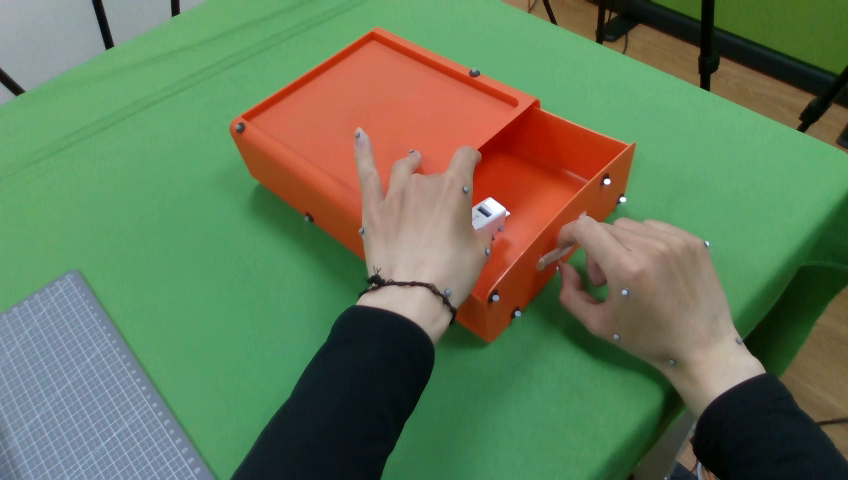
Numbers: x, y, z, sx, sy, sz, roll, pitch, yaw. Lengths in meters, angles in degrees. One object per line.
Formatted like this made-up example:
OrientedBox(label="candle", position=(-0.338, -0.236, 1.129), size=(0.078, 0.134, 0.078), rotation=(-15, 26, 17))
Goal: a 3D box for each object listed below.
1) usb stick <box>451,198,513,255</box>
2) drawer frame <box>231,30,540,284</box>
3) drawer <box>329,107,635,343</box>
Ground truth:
OrientedBox(label="usb stick", position=(0.051, -0.014, 0.499), size=(0.059, 0.027, 0.021), rotation=(-33, 57, -29))
OrientedBox(label="drawer frame", position=(-0.034, -0.090, 0.572), size=(0.211, 0.083, 0.201), rotation=(32, 63, 30))
OrientedBox(label="drawer", position=(0.038, -0.044, 0.526), size=(0.210, 0.074, 0.194), rotation=(32, 62, 30))
